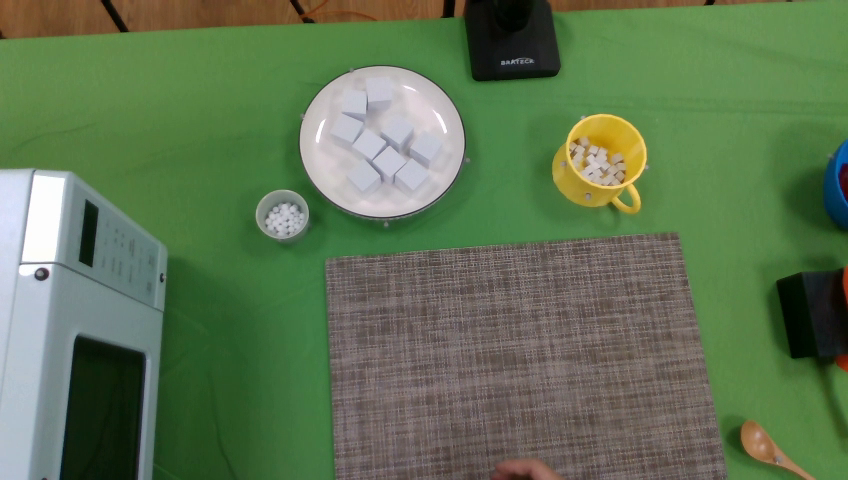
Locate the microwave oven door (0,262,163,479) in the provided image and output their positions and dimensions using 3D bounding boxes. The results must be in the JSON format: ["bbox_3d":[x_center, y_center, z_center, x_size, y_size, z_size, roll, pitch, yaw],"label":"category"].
[{"bbox_3d":[-0.298,0.216,0.533,0.039,0.245,0.354,-2,75,-4],"label":"microwave oven door"}]

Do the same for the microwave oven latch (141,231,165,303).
[{"bbox_3d":[-0.311,0.031,0.685,0.030,0.029,0.078,0,76,-5],"label":"microwave oven latch"}]

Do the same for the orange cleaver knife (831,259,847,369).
[{"bbox_3d":[0.509,0.130,0.716,0.012,0.077,0.212,-3,99,-1],"label":"orange cleaver knife"}]

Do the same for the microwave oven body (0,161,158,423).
[{"bbox_3d":[-0.446,0.179,0.537,0.326,0.261,0.439,-1,76,-5],"label":"microwave oven body"}]

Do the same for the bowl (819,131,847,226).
[{"bbox_3d":[0.567,-0.068,0.774,0.151,0.077,0.150,1,76,-4],"label":"bowl"}]

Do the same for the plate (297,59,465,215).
[{"bbox_3d":[-0.053,-0.128,0.766,0.208,0.039,0.206,1,75,-4],"label":"plate"}]

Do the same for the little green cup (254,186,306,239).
[{"bbox_3d":[-0.171,-0.030,0.729,0.061,0.039,0.061,1,76,-5],"label":"little green cup"}]

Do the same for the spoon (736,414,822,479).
[{"bbox_3d":[0.441,0.271,0.705,0.193,0.022,0.041,37,59,6],"label":"spoon"}]

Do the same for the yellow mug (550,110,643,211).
[{"bbox_3d":[0.224,-0.092,0.762,0.100,0.064,0.130,-33,81,-12],"label":"yellow mug"}]
